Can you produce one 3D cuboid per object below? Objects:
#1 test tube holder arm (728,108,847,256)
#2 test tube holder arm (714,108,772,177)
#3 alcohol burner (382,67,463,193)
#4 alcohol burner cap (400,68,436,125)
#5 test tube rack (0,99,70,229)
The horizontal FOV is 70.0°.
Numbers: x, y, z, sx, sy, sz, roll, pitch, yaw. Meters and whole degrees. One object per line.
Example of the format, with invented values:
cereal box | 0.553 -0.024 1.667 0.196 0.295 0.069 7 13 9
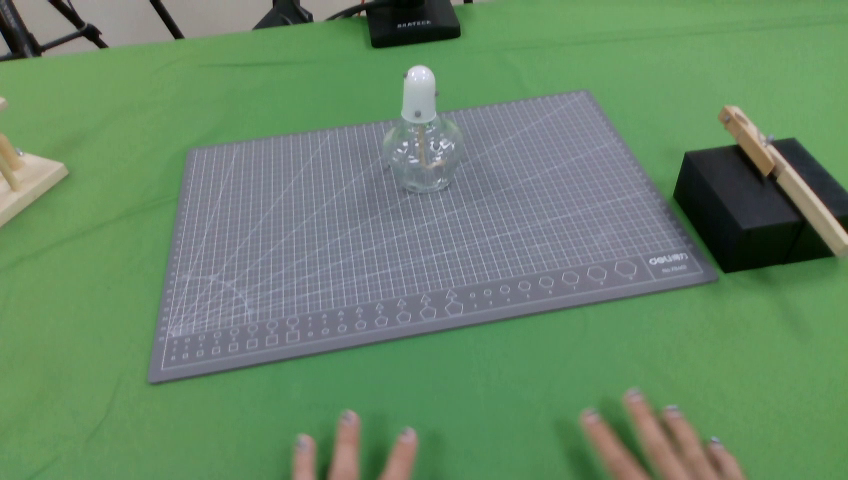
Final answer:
test tube holder arm | 0.289 -0.054 0.492 0.013 0.015 0.176 -3 45 -9
test tube holder arm | 0.277 -0.085 0.523 0.010 0.015 0.087 -3 45 -9
alcohol burner | -0.003 -0.104 0.562 0.078 0.120 0.077 -3 43 3
alcohol burner cap | -0.005 -0.129 0.537 0.034 0.048 0.033 2 44 -1
test tube rack | -0.456 -0.028 0.548 0.066 0.086 0.241 16 48 19
